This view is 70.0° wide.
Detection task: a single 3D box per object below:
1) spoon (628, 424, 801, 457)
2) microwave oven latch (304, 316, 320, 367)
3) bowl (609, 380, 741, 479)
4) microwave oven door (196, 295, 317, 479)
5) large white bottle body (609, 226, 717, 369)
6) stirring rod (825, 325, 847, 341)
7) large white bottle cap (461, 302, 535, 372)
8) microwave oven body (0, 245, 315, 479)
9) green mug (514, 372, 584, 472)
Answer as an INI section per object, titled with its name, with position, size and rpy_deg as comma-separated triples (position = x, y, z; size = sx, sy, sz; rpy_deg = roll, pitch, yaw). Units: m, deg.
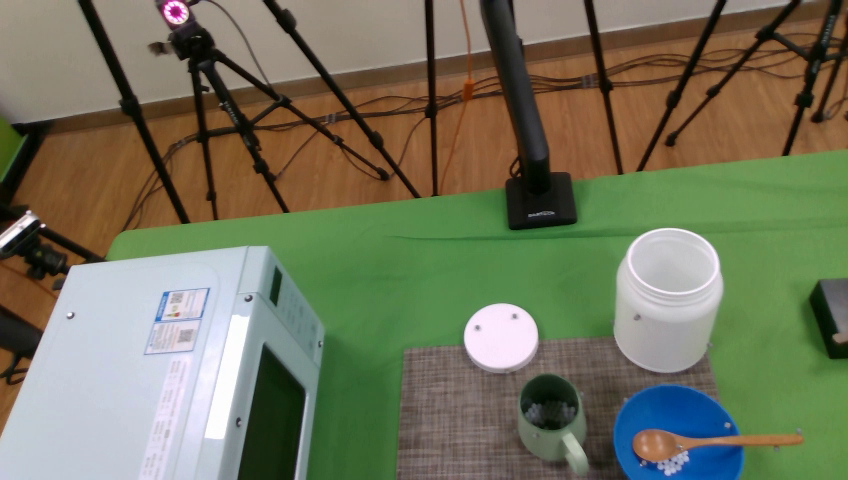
[spoon]
position = 0.348, 0.241, 0.738
size = 0.193, 0.022, 0.041
rpy_deg = -15, 52, 33
[microwave oven latch]
position = -0.184, 0.164, 0.970
size = 0.030, 0.030, 0.078
rpy_deg = -6, 54, 9
[bowl]
position = 0.311, 0.262, 0.768
size = 0.151, 0.077, 0.150
rpy_deg = -7, 53, 10
[microwave oven door]
position = -0.208, 0.280, 0.761
size = 0.039, 0.246, 0.352
rpy_deg = -7, 53, 9
[large white bottle body]
position = 0.325, 0.079, 0.832
size = 0.130, 0.186, 0.129
rpy_deg = -7, 49, 9
[stirring rod]
position = 0.619, 0.102, 0.800
size = 0.176, 0.006, 0.014
rpy_deg = -18, 59, 3
[large white bottle cap]
position = 0.115, 0.149, 0.938
size = 0.114, 0.018, 0.113
rpy_deg = -6, 52, 9
[microwave oven body]
position = -0.350, 0.266, 0.812
size = 0.325, 0.263, 0.437
rpy_deg = -6, 54, 9
[green mug]
position = 0.171, 0.245, 0.799
size = 0.092, 0.106, 0.124
rpy_deg = -27, 53, -7
